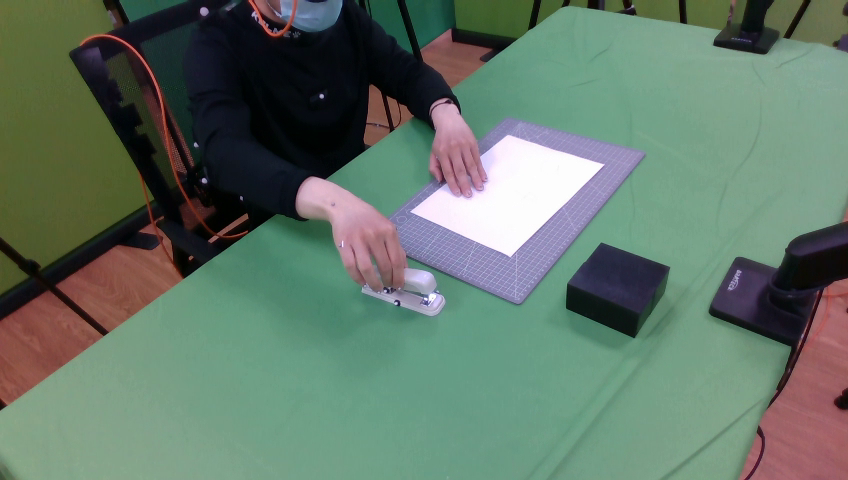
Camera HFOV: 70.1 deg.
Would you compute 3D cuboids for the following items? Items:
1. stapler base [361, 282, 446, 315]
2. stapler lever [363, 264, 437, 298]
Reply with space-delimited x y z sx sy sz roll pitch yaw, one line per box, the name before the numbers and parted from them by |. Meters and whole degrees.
stapler base | -0.031 0.073 0.889 0.130 0.024 0.041 14 42 26
stapler lever | -0.036 0.054 0.873 0.117 0.040 0.027 14 42 26
